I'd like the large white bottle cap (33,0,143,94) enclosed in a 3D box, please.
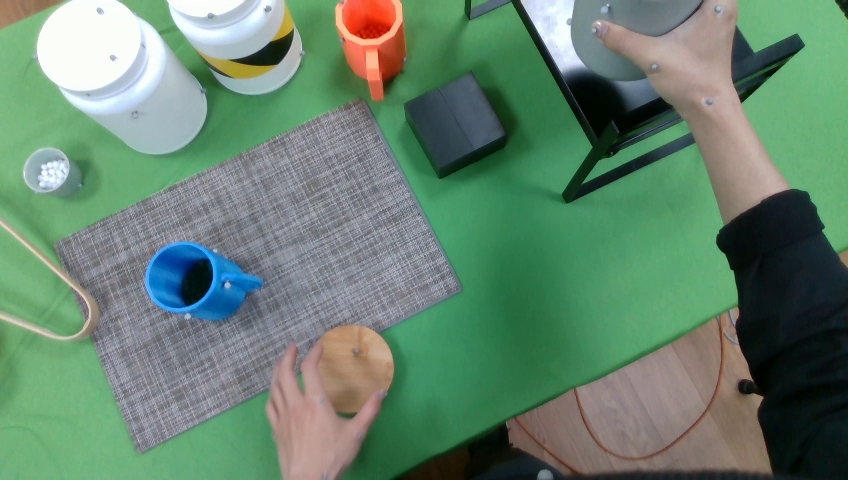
[{"bbox_3d":[-0.369,-0.217,0.665,0.115,0.018,0.114,0,79,1],"label":"large white bottle cap"}]

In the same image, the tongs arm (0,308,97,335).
[{"bbox_3d":[-0.605,0.039,0.760,0.385,0.026,0.050,25,76,-2],"label":"tongs arm"}]

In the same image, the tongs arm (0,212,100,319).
[{"bbox_3d":[-0.563,-0.032,0.777,0.387,0.028,0.028,39,73,1],"label":"tongs arm"}]

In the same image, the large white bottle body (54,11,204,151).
[{"bbox_3d":[-0.367,-0.200,0.748,0.130,0.185,0.130,0,78,1],"label":"large white bottle body"}]

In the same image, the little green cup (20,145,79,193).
[{"bbox_3d":[-0.494,-0.092,0.803,0.061,0.039,0.061,0,80,0],"label":"little green cup"}]

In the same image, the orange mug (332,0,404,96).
[{"bbox_3d":[-0.071,-0.261,0.801,0.083,0.101,0.125,-4,74,1],"label":"orange mug"}]

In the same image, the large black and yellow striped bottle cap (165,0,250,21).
[{"bbox_3d":[-0.244,-0.302,0.681,0.115,0.019,0.114,0,79,0],"label":"large black and yellow striped bottle cap"}]

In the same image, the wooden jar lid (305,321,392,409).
[{"bbox_3d":[-0.094,0.156,0.759,0.108,0.021,0.108,0,82,0],"label":"wooden jar lid"}]

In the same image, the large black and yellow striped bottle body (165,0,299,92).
[{"bbox_3d":[-0.241,-0.284,0.764,0.131,0.184,0.130,0,78,1],"label":"large black and yellow striped bottle body"}]

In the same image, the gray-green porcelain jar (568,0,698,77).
[{"bbox_3d":[0.182,-0.213,0.527,0.106,0.127,0.105,-2,72,6],"label":"gray-green porcelain jar"}]

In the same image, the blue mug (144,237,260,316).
[{"bbox_3d":[-0.259,0.047,0.736,0.116,0.106,0.082,-1,78,0],"label":"blue mug"}]
